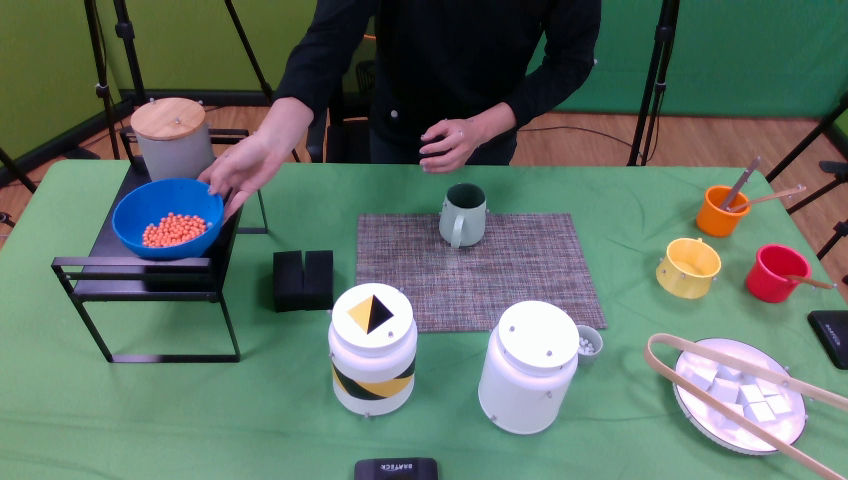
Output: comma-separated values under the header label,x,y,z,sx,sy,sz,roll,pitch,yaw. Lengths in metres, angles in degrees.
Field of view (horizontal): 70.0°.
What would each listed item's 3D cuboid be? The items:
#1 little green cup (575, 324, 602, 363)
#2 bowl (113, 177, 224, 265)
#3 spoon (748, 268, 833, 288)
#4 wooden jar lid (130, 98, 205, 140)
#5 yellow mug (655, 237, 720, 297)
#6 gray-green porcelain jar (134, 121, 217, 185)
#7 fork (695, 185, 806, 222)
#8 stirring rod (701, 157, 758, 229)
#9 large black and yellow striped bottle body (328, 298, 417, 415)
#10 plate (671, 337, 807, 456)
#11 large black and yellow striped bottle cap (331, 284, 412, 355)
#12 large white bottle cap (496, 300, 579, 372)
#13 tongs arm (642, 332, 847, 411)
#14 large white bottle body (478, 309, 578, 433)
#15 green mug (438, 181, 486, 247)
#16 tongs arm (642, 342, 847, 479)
label,x,y,z,sx,sy,sz,roll,pitch,yaw
little green cup,0.269,0.179,1.035,0.061,0.039,0.061,3,46,-2
bowl,-0.367,-0.016,0.896,0.151,0.077,0.150,2,46,-2
spoon,0.660,0.068,1.097,0.041,0.193,0.021,-4,91,-6
wooden jar lid,-0.393,-0.183,0.934,0.108,0.021,0.107,2,44,-2
yellow mug,0.509,0.041,1.167,0.099,0.064,0.130,24,48,18
gray-green porcelain jar,-0.397,-0.141,0.979,0.106,0.127,0.105,2,47,-2
fork,0.658,-0.074,1.230,0.207,0.019,0.028,-23,36,37
stirring rod,0.634,-0.096,1.257,0.014,0.006,0.176,38,97,30
large black and yellow striped bottle body,-0.078,0.167,0.920,0.131,0.185,0.130,2,46,-2
plate,0.504,0.254,0.984,0.208,0.039,0.206,2,46,-2
large black and yellow striped bottle cap,-0.073,0.110,0.858,0.115,0.019,0.114,2,46,-2
large white bottle cap,0.160,0.133,0.852,0.115,0.018,0.114,3,46,-2
tongs arm,0.546,0.227,0.968,0.384,0.026,0.050,22,52,13
large white bottle body,0.156,0.192,0.913,0.131,0.185,0.130,2,46,-2
green mug,0.071,-0.039,1.177,0.092,0.105,0.124,12,47,7
tongs arm,0.504,0.279,0.918,0.386,0.028,0.028,33,59,22
